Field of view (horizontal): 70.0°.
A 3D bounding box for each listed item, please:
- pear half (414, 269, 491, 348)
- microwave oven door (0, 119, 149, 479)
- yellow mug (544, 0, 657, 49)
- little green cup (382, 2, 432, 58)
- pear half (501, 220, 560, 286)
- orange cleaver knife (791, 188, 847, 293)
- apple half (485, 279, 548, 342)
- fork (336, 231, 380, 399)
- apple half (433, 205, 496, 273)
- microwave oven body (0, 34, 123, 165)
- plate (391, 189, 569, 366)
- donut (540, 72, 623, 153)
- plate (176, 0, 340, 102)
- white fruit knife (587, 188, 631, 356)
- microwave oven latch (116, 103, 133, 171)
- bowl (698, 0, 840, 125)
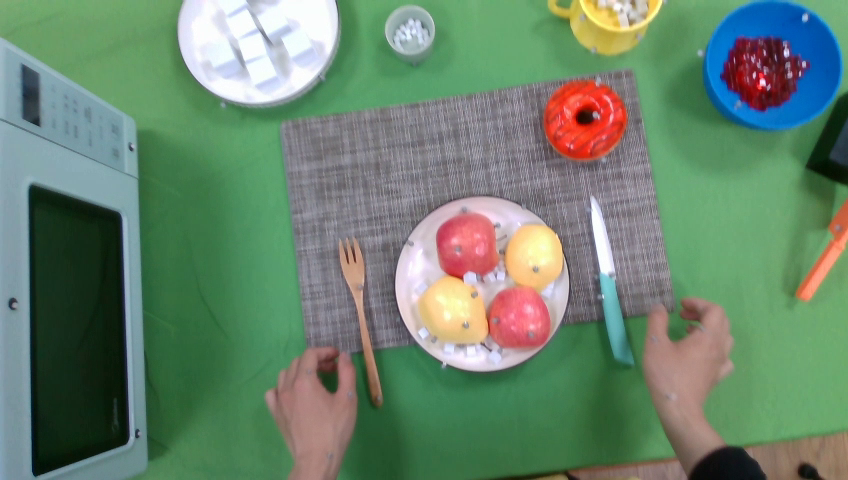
[{"bbox_3d":[0.041,0.086,0.705,0.109,0.056,0.076,43,92,3],"label":"pear half"},{"bbox_3d":[-0.369,0.079,0.626,0.039,0.244,0.354,-6,84,3],"label":"microwave oven door"},{"bbox_3d":[0.213,-0.294,0.739,0.131,0.064,0.099,2,84,4],"label":"yellow mug"},{"bbox_3d":[-0.019,-0.262,0.762,0.061,0.039,0.061,0,84,4],"label":"little green cup"},{"bbox_3d":[0.121,0.019,0.709,0.070,0.031,0.088,14,87,25],"label":"pear half"},{"bbox_3d":[0.481,-0.036,0.689,0.012,0.077,0.212,28,111,11],"label":"orange cleaver knife"},{"bbox_3d":[0.100,0.082,0.700,0.081,0.033,0.081,-1,89,25],"label":"apple half"},{"bbox_3d":[-0.078,0.090,0.737,0.028,0.018,0.206,-11,84,-3],"label":"fork"},{"bbox_3d":[0.047,-0.002,0.711,0.074,0.053,0.080,-3,87,4],"label":"apple half"},{"bbox_3d":[-0.518,0.051,0.642,0.326,0.261,0.440,-5,84,2],"label":"microwave oven body"},{"bbox_3d":[0.066,0.043,0.723,0.209,0.038,0.208,0,84,3],"label":"plate"},{"bbox_3d":[0.189,-0.154,0.732,0.099,0.048,0.099,-1,85,6],"label":"donut"},{"bbox_3d":[-0.208,-0.273,0.774,0.207,0.039,0.207,0,84,3],"label":"plate"},{"bbox_3d":[0.217,0.038,0.728,0.027,0.016,0.206,-5,81,-28],"label":"white fruit knife"},{"bbox_3d":[-0.380,-0.126,0.750,0.030,0.029,0.079,-4,85,2],"label":"microwave oven latch"},{"bbox_3d":[0.390,-0.201,0.713,0.151,0.077,0.151,0,85,3],"label":"bowl"}]
